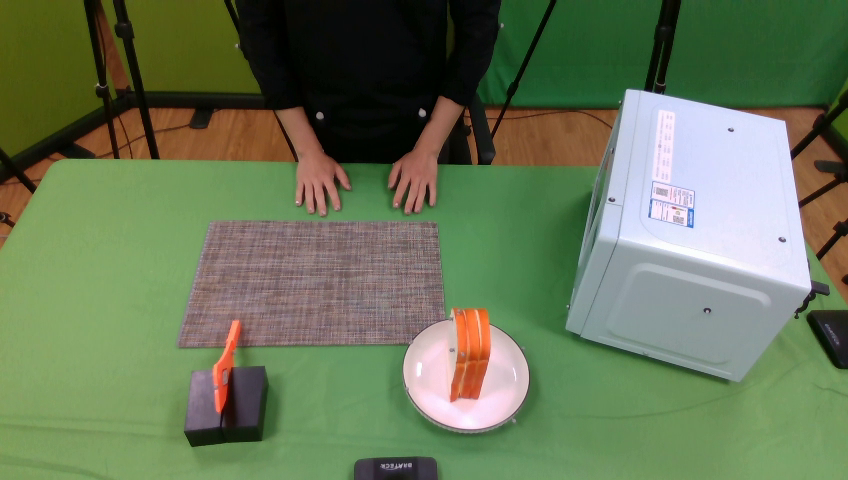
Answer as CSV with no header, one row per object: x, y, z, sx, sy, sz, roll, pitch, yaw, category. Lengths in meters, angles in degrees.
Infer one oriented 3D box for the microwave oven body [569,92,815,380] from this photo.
0.468,-0.021,1.082,0.325,0.261,0.440,15,46,11,microwave oven body

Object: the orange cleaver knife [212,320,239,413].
-0.306,0.190,0.944,0.012,0.077,0.210,-4,17,-7,orange cleaver knife

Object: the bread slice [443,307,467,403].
0.048,0.171,0.948,0.018,0.135,0.106,0,42,-7,bread slice

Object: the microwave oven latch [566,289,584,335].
0.267,0.126,1.059,0.030,0.029,0.079,15,46,11,microwave oven latch

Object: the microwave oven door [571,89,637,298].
0.343,-0.091,1.133,0.039,0.245,0.354,15,47,10,microwave oven door

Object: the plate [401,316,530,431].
0.066,0.217,0.982,0.208,0.039,0.206,2,46,-2,plate
